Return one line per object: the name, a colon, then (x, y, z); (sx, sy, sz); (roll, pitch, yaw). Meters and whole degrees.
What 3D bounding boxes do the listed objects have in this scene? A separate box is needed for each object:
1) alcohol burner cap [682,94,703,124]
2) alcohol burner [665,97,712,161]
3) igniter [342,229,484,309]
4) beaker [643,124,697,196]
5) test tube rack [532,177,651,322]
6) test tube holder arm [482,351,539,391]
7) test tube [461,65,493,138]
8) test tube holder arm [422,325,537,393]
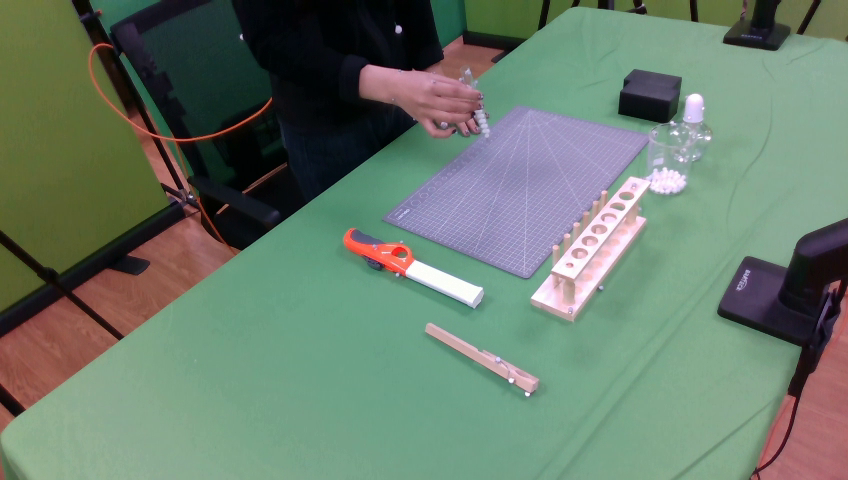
alcohol burner cap: (0.460, -0.225, 1.033); (0.034, 0.048, 0.033); (-8, 34, 6)
alcohol burner: (0.465, -0.198, 1.057); (0.078, 0.119, 0.077); (-4, 41, 4)
igniter: (-0.027, 0.039, 0.936); (0.274, 0.025, 0.057); (23, 59, 32)
beaker: (0.407, -0.132, 1.001); (0.084, 0.101, 0.073); (-20, 42, -13)
test tube rack: (0.247, 0.002, 0.883); (0.066, 0.085, 0.243); (22, 49, 32)
test tube holder arm: (0.106, 0.166, 0.769); (0.087, 0.015, 0.010); (24, 15, 34)
test tube: (0.089, -0.222, 0.984); (0.017, 0.151, 0.017); (-12, 51, 15)
test tube holder arm: (0.068, 0.152, 0.789); (0.177, 0.015, 0.013); (23, 15, 32)
